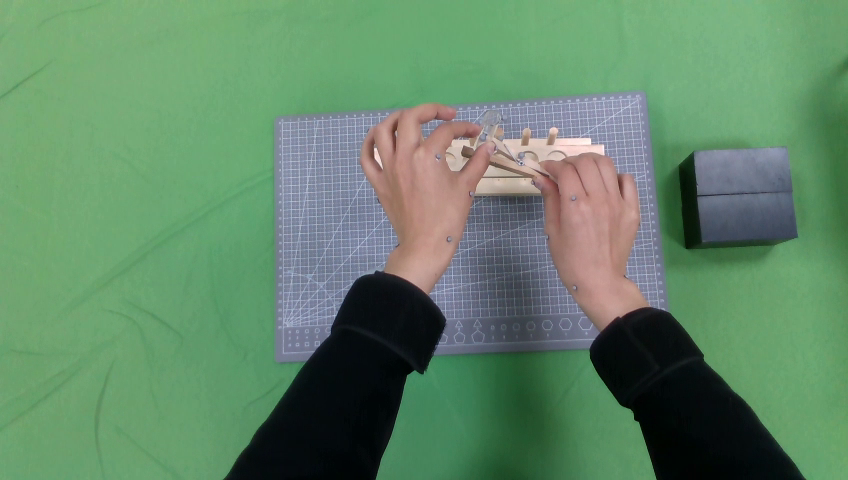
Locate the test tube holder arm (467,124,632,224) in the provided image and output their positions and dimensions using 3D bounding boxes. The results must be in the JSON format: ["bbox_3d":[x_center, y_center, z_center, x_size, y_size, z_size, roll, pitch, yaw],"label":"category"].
[{"bbox_3d":[0.119,-0.064,0.582,0.178,0.015,0.013,30,91,9],"label":"test tube holder arm"}]

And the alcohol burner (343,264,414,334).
[{"bbox_3d":[-0.051,0.061,0.648,0.078,0.119,0.077,0,79,2],"label":"alcohol burner"}]

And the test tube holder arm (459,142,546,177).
[{"bbox_3d":[0.077,-0.078,0.589,0.087,0.015,0.010,17,88,9],"label":"test tube holder arm"}]

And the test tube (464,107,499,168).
[{"bbox_3d":[0.054,-0.094,0.594,0.017,0.150,0.017,1,79,-3],"label":"test tube"}]

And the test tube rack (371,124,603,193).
[{"bbox_3d":[0.068,-0.095,0.678,0.242,0.085,0.066,0,81,4],"label":"test tube rack"}]
